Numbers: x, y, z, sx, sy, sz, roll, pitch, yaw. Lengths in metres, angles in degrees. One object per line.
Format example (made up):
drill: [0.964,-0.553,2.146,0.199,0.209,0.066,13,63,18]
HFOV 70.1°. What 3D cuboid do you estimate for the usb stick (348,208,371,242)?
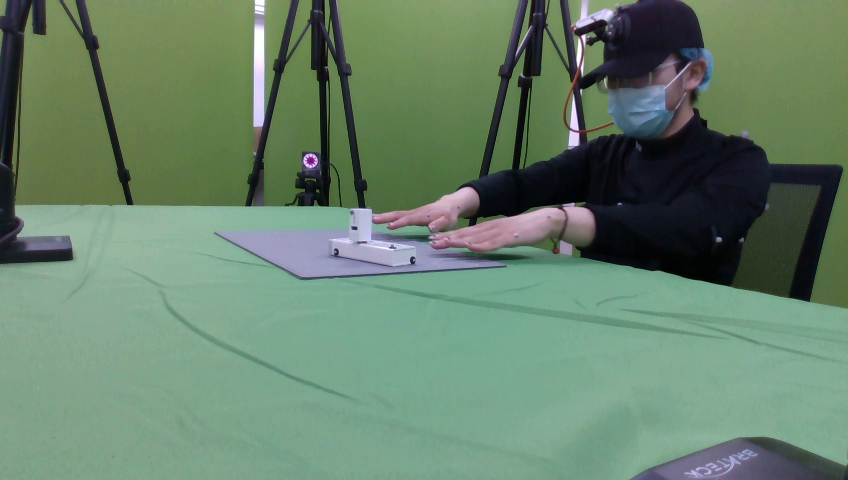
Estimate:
usb stick: [-0.088,-0.014,0.826,0.021,0.059,0.027,7,11,37]

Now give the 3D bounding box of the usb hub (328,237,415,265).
usb hub: [-0.074,0.014,0.836,0.124,0.025,0.050,7,9,38]
